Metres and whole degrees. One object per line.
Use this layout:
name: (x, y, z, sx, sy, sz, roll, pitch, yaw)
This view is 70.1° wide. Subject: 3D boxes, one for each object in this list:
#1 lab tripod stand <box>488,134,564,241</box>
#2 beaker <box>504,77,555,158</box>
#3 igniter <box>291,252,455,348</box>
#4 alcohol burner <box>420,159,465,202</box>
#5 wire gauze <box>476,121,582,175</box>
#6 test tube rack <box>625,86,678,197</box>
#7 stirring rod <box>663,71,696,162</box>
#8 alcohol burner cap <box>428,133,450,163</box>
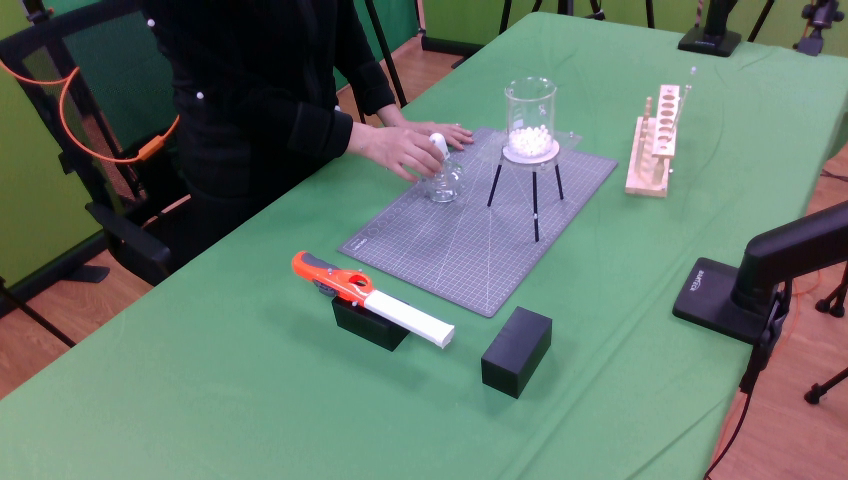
lab tripod stand: (0.168, -0.092, 0.972, 0.148, 0.132, 0.147, -5, 41, 5)
beaker: (0.160, -0.181, 0.900, 0.084, 0.101, 0.073, -33, 46, -27)
igniter: (-0.080, 0.076, 0.822, 0.274, 0.025, 0.057, 23, 45, 27)
alcohol burner: (0.030, -0.125, 1.044, 0.078, 0.119, 0.077, -5, 42, 5)
wire gauze: (0.162, -0.142, 0.929, 0.120, 0.011, 0.125, 19, 49, 32)
test tube rack: (0.412, -0.184, 1.088, 0.066, 0.085, 0.242, 9, 43, 18)
stirring rod: (0.410, -0.195, 0.981, 0.014, 0.177, 0.006, 11, 50, 14)
alcohol burner cap: (0.024, -0.157, 1.015, 0.034, 0.048, 0.033, -9, 42, 8)
